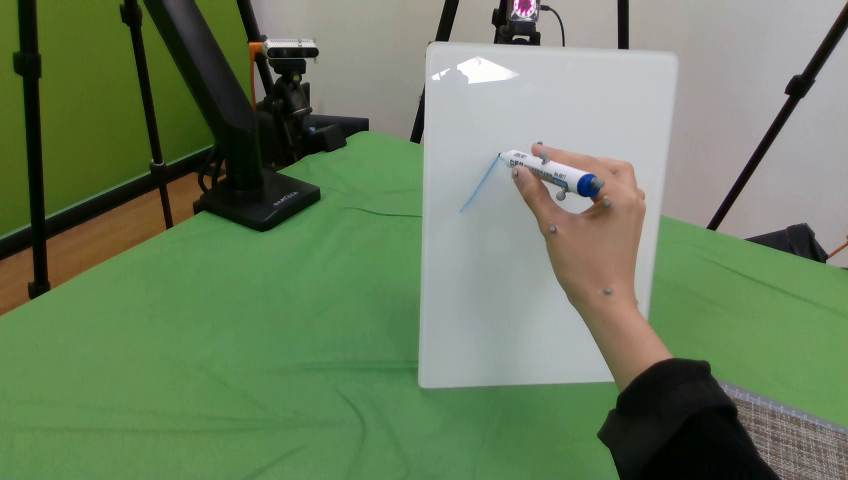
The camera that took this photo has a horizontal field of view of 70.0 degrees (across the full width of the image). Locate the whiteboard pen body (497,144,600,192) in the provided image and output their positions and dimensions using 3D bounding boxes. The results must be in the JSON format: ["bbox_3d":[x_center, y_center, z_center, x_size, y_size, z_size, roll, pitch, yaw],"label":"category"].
[{"bbox_3d":[0.083,-0.056,0.440,0.017,0.017,0.139,-6,19,-17],"label":"whiteboard pen body"}]

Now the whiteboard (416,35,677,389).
[{"bbox_3d":[0.096,-0.030,0.593,0.218,0.306,0.143,0,14,-8],"label":"whiteboard"}]
